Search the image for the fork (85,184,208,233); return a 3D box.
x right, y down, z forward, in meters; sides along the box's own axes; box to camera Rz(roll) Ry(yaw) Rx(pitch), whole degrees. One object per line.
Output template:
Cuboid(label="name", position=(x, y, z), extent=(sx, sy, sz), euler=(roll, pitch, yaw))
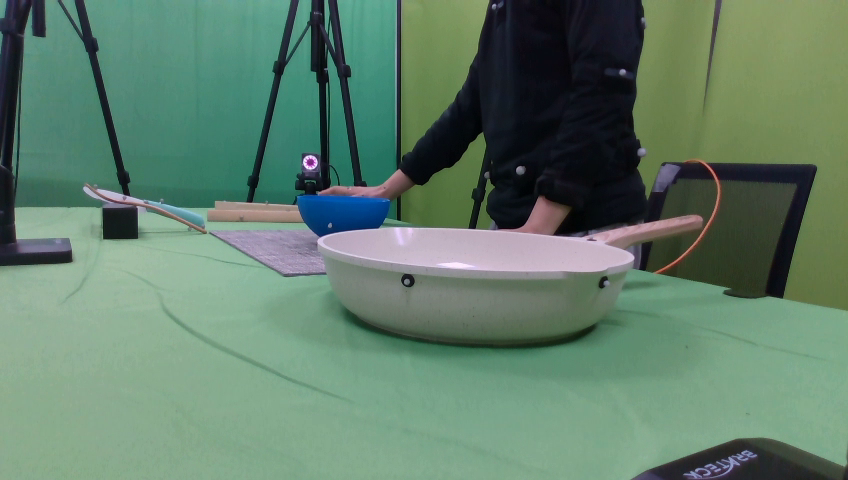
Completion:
Cuboid(label="fork", position=(-0.462, -0.051, 1.019), extent=(0.208, 0.018, 0.028), euler=(22, -11, -37))

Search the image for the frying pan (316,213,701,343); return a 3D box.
Cuboid(label="frying pan", position=(0.133, 0.013, 0.629), extent=(0.490, 0.102, 0.305), euler=(-12, 14, -30))

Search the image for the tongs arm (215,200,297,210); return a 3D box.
Cuboid(label="tongs arm", position=(-0.295, -0.070, 1.425), extent=(0.386, 0.026, 0.050), euler=(2, 8, -9))

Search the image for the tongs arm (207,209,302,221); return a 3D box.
Cuboid(label="tongs arm", position=(-0.277, -0.055, 1.347), extent=(0.389, 0.028, 0.028), euler=(0, 5, -22))

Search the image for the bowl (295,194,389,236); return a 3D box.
Cuboid(label="bowl", position=(-0.133, -0.032, 0.980), extent=(0.151, 0.077, 0.151), euler=(2, 7, 0))

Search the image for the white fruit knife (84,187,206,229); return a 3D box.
Cuboid(label="white fruit knife", position=(-0.488, -0.059, 1.071), extent=(0.208, 0.027, 0.016), euler=(17, 4, -33))
